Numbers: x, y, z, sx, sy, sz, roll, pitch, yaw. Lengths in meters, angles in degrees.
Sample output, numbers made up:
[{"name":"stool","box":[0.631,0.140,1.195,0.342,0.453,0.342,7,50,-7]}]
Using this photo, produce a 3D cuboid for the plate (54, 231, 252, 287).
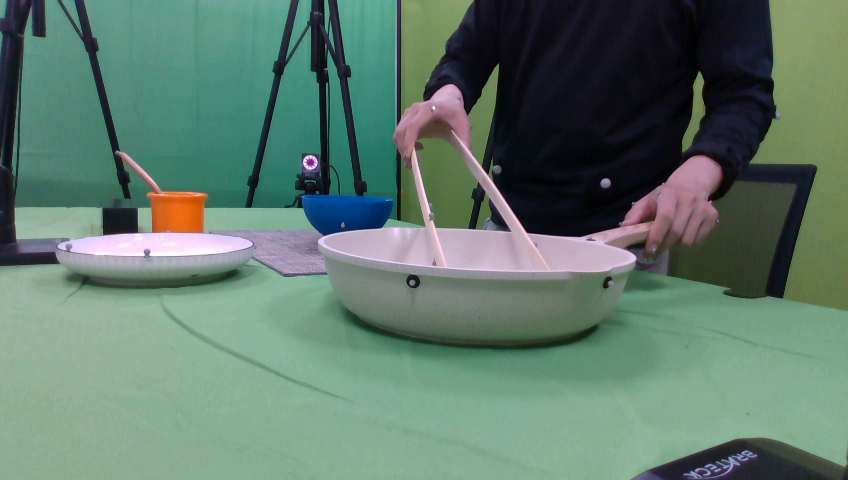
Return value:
[{"name":"plate","box":[-0.309,0.020,0.705,0.208,0.039,0.207,3,7,0]}]

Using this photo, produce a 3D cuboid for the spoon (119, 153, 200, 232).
[{"name":"spoon","box":[-0.439,-0.077,1.001,0.021,0.193,0.042,-43,-7,22]}]

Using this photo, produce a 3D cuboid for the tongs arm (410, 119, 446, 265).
[{"name":"tongs arm","box":[0.015,-0.059,0.729,0.051,0.026,0.383,-8,34,-5]}]

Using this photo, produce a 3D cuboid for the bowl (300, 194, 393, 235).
[{"name":"bowl","box":[-0.128,-0.034,0.995,0.151,0.077,0.151,2,7,0]}]

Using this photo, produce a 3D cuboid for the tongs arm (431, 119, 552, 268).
[{"name":"tongs arm","box":[0.072,-0.066,0.736,0.028,0.028,0.386,-14,35,-8]}]

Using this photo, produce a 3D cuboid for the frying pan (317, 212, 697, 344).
[{"name":"frying pan","box":[0.133,0.013,0.629,0.490,0.102,0.305,-12,14,-31]}]
